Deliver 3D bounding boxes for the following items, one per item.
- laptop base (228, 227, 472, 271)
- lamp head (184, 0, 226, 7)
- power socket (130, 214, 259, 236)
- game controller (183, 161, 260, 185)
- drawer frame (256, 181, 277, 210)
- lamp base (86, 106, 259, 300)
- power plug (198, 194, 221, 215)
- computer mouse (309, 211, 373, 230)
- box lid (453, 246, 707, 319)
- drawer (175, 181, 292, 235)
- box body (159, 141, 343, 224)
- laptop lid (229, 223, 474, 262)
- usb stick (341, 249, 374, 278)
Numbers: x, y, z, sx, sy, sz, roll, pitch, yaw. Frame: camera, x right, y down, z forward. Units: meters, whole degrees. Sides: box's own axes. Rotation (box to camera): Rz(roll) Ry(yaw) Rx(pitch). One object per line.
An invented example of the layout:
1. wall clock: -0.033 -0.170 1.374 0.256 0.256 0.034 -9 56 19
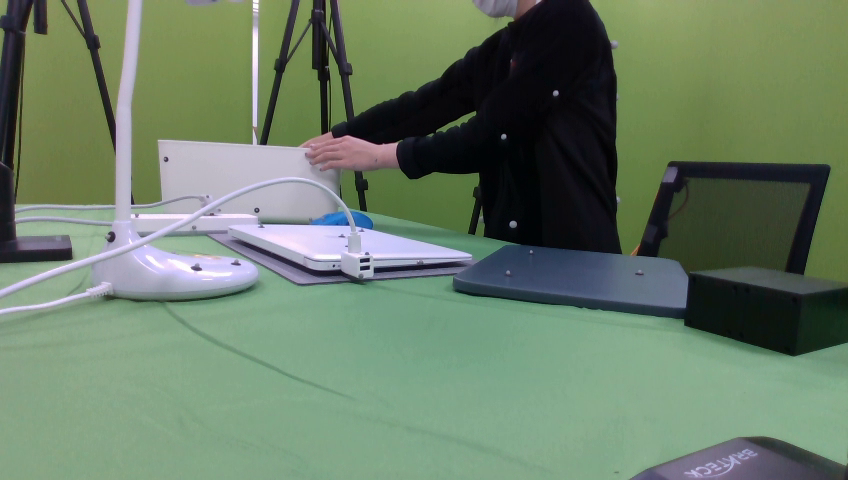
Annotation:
1. laptop base: -0.124 0.011 0.888 0.237 0.023 0.352 2 6 -35
2. lamp head: -0.229 -0.320 0.627 0.112 0.112 0.123 6 -35 26
3. power socket: -0.397 -0.028 1.048 0.228 0.032 0.072 -3 7 -35
4. game controller: -0.440 -0.145 1.304 0.156 0.051 0.096 -2 7 -30
5. drawer frame: -0.411 -0.097 1.315 0.214 0.082 0.201 -4 7 -5
6. lamp base: -0.254 -0.039 0.603 0.160 0.180 0.179 5 10 18
7. power plug: -0.386 -0.055 1.088 0.035 0.052 0.072 -2 7 -24
8. computer mouse: -0.157 -0.033 1.139 0.118 0.041 0.062 -5 11 -28
9. box lid: 0.203 0.044 0.780 0.262 0.015 0.372 5 7 17
10. drawer: -0.405 -0.072 1.320 0.212 0.073 0.194 -11 10 -4
11. box body: -0.365 -0.128 1.337 0.365 0.160 0.253 2 7 -8
12. laptop lid: -0.121 0.000 0.888 0.243 0.013 0.355 1 7 -33
13. usb stick: -0.079 0.026 0.686 0.021 0.027 0.059 -7 9 -30
